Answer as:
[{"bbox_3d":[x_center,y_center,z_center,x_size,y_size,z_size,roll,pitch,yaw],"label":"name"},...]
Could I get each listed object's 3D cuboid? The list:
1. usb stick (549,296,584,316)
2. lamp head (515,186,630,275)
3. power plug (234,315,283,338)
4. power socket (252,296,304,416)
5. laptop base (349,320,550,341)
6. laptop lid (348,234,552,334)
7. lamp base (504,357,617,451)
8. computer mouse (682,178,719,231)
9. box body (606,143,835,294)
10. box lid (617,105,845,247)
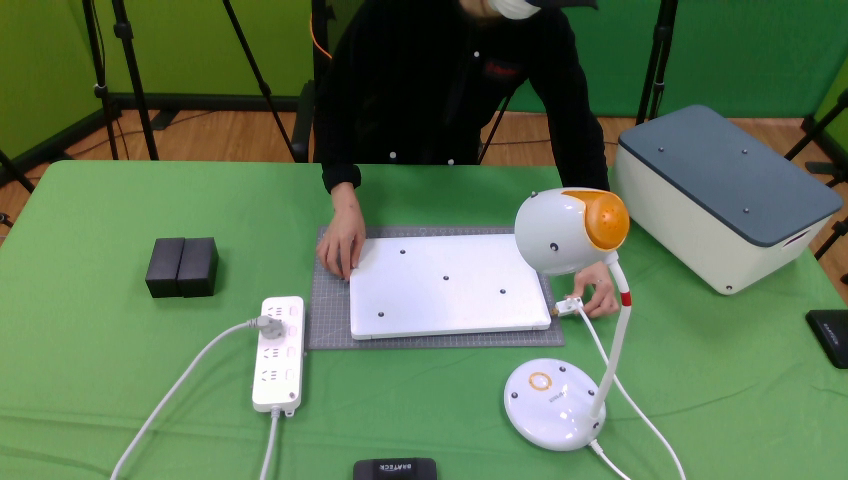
[{"bbox_3d":[0.252,0.120,1.077,0.059,0.027,0.021,-16,69,1],"label":"usb stick"},{"bbox_3d":[0.188,-0.013,0.728,0.112,0.112,0.122,-25,9,-25],"label":"lamp head"},{"bbox_3d":[-0.269,0.143,1.000,0.072,0.053,0.035,5,47,3],"label":"power plug"},{"bbox_3d":[-0.238,0.181,0.997,0.072,0.033,0.225,-3,47,-5],"label":"power socket"},{"bbox_3d":[0.038,0.082,1.124,0.355,0.023,0.234,-2,43,-6],"label":"laptop base"},{"bbox_3d":[0.039,0.072,1.117,0.357,0.013,0.240,-1,44,-5],"label":"laptop lid"},{"bbox_3d":[0.220,0.211,0.903,0.160,0.181,0.178,-33,59,-30],"label":"lamp base"},{"bbox_3d":[0.596,-0.078,1.290,0.117,0.041,0.062,56,45,-7],"label":"computer mouse"},{"bbox_3d":[0.582,-0.088,1.230,0.254,0.161,0.361,-22,52,-23],"label":"box body"},{"bbox_3d":[0.586,-0.138,1.176,0.263,0.015,0.369,-22,51,-23],"label":"box lid"}]
